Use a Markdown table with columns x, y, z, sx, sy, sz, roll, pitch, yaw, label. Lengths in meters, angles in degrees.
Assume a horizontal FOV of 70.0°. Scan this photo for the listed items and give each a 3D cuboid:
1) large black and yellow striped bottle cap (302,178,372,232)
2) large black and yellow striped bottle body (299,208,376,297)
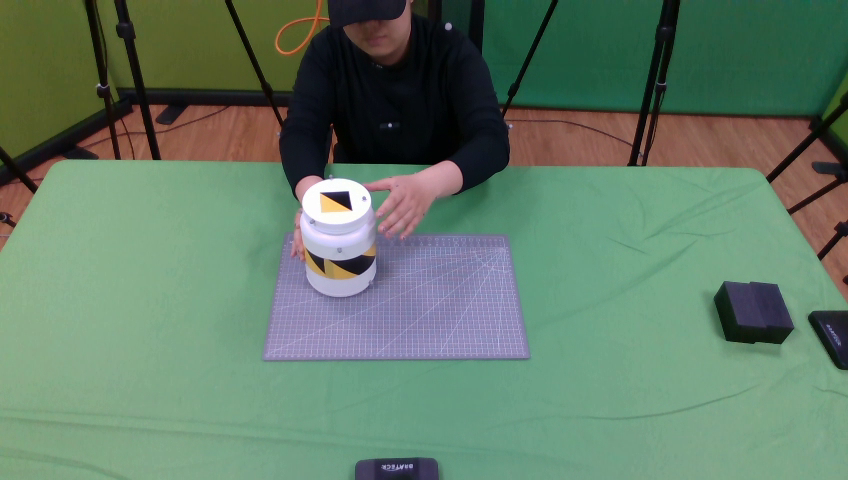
| x | y | z | sx | sy | sz | roll | pitch | yaw | label |
| --- | --- | --- | --- | --- | --- | --- | --- | --- | --- |
| -0.145 | -0.060 | 1.012 | 0.115 | 0.019 | 0.114 | 2 | 47 | -1 | large black and yellow striped bottle cap |
| -0.151 | -0.002 | 1.073 | 0.131 | 0.185 | 0.130 | 2 | 46 | -2 | large black and yellow striped bottle body |
